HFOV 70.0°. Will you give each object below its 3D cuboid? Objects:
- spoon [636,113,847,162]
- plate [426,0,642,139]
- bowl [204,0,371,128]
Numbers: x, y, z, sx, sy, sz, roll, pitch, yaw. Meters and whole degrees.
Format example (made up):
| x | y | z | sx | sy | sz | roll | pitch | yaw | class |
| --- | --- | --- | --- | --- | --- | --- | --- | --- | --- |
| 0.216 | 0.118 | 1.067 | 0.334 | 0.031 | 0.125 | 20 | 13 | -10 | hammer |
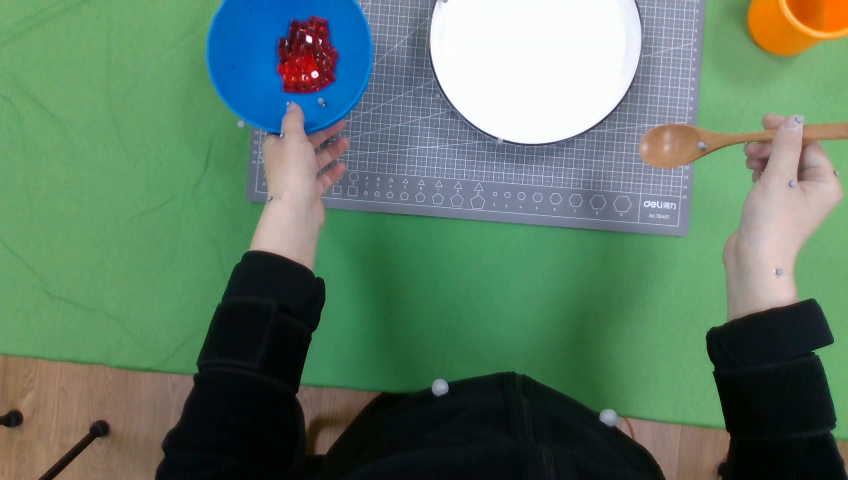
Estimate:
| x | y | z | sx | sy | sz | roll | pitch | yaw | class |
| --- | --- | --- | --- | --- | --- | --- | --- | --- | --- |
| 0.261 | -0.086 | 0.480 | 0.022 | 0.192 | 0.041 | 14 | 84 | -39 | spoon |
| 0.106 | -0.202 | 0.598 | 0.209 | 0.038 | 0.209 | 0 | 90 | 1 | plate |
| -0.122 | -0.176 | 0.578 | 0.151 | 0.077 | 0.151 | 0 | 90 | 0 | bowl |
